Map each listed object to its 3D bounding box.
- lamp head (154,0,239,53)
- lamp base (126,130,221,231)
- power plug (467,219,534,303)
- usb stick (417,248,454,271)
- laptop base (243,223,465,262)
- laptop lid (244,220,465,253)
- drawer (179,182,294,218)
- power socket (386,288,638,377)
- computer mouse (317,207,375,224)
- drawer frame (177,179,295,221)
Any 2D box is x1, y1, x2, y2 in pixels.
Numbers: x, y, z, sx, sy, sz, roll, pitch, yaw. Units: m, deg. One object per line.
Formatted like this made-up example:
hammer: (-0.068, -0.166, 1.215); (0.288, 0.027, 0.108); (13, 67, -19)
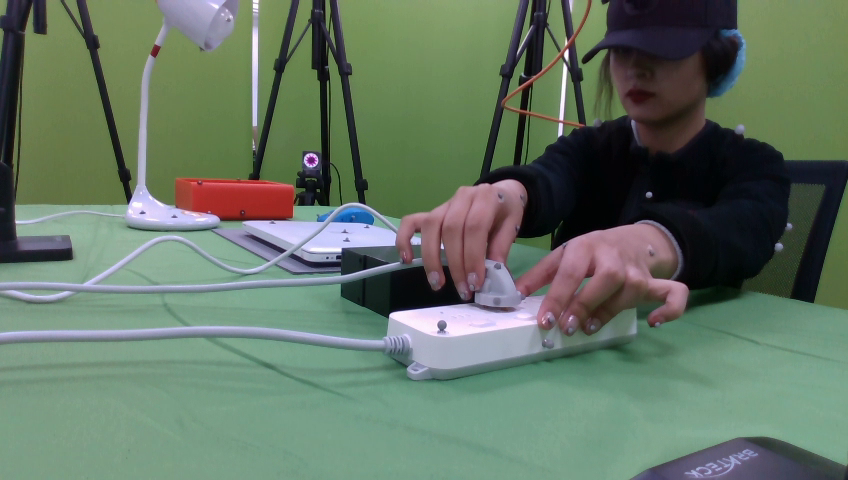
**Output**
lamp head: (-0.406, -0.402, 1.059); (0.123, 0.112, 0.112); (25, 5, -6)
lamp base: (-0.469, -0.112, 1.108); (0.179, 0.180, 0.160); (0, 7, 3)
power plug: (0.053, 0.013, 0.453); (0.035, 0.072, 0.052); (-24, -4, -41)
usb stick: (0.011, 0.024, 0.755); (0.027, 0.021, 0.059); (38, -17, -18)
laptop base: (-0.126, 0.003, 0.945); (0.237, 0.023, 0.352); (2, 6, -31)
laptop lid: (-0.124, -0.009, 0.945); (0.243, 0.013, 0.355); (1, 7, -29)
drawer: (-0.420, -0.091, 1.354); (0.213, 0.073, 0.193); (-3, 10, -31)
power socket: (0.074, 0.064, 0.461); (0.228, 0.032, 0.072); (-3, 8, -34)
computer mouse: (-0.163, -0.048, 1.264); (0.118, 0.041, 0.062); (-6, 12, -28)
drawer frame: (-0.422, -0.092, 1.352); (0.215, 0.082, 0.200); (-3, 10, -32)
